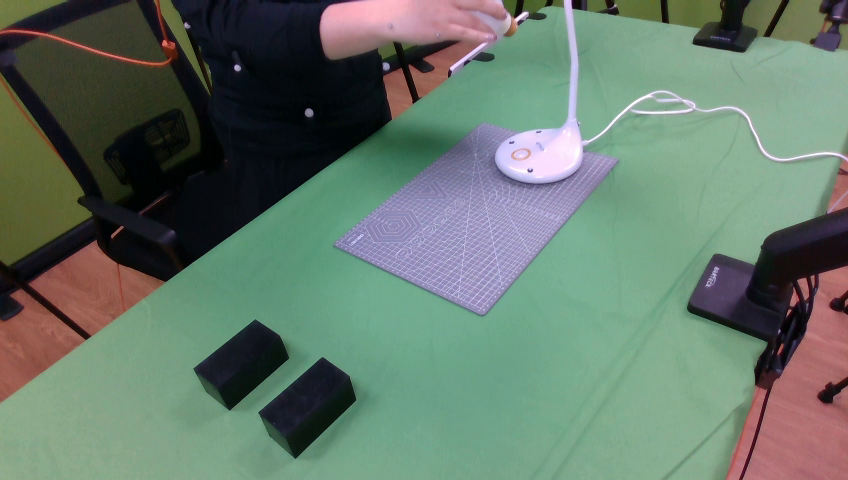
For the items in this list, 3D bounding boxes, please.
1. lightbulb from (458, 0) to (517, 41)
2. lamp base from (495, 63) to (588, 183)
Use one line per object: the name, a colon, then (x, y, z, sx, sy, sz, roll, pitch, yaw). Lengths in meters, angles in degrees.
lightbulb: (0.093, -0.301, 0.836, 0.108, 0.059, 0.059, 0, 25, -48)
lamp base: (0.215, -0.217, 1.067, 0.180, 0.181, 0.159, -19, 42, -18)
